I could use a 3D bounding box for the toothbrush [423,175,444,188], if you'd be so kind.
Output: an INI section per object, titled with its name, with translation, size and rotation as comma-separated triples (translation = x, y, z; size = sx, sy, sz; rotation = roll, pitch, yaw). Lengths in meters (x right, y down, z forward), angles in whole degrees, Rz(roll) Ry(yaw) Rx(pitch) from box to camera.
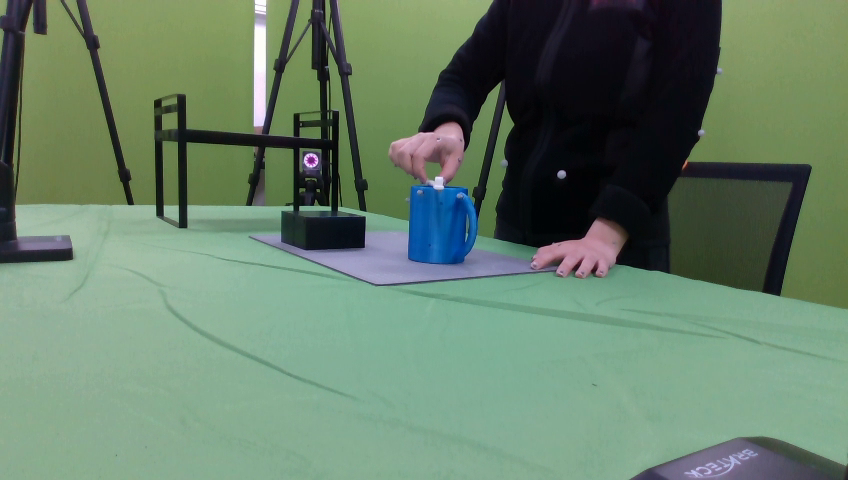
[toothbrush]
translation = 0.012, -0.085, 0.853
size = 0.014, 0.016, 0.181
rotation = -3, 8, -5

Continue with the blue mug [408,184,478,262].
[blue mug]
translation = 0.031, -0.024, 0.843
size = 0.083, 0.106, 0.116
rotation = -4, 10, -43
